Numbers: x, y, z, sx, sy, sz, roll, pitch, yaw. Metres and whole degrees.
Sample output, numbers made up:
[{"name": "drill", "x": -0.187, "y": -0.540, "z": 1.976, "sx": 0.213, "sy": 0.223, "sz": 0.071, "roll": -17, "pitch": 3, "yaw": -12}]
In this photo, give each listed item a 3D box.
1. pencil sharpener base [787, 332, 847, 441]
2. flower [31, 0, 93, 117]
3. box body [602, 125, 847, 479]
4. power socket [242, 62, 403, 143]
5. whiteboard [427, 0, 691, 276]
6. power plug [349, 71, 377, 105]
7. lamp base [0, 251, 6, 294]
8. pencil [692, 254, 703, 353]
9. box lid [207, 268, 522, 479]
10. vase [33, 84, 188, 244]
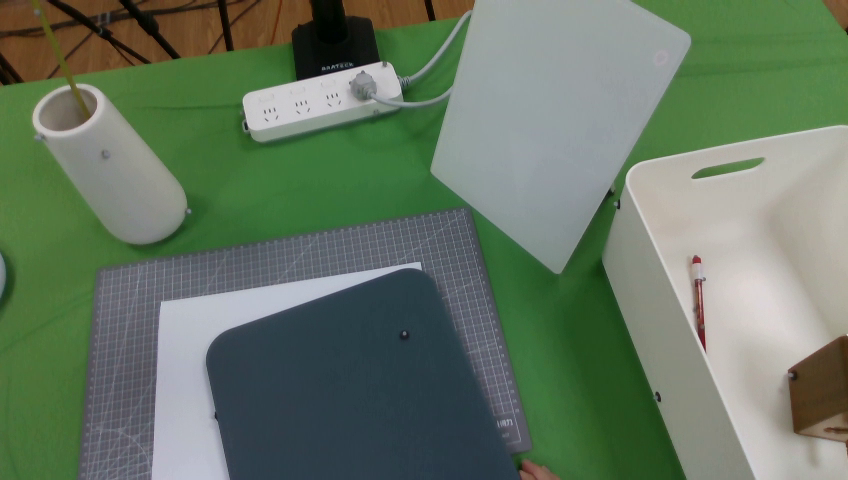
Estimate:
[{"name": "pencil sharpener base", "x": 0.398, "y": 0.143, "z": 0.568, "sx": 0.061, "sy": 0.108, "sz": 0.076, "roll": 9, "pitch": 61, "yaw": 6}, {"name": "flower", "x": -0.340, "y": -0.135, "z": 0.607, "sx": 0.038, "sy": 0.365, "sz": 0.043, "roll": -21, "pitch": 44, "yaw": -17}, {"name": "box body", "x": 0.347, "y": 0.094, "z": 0.572, "sx": 0.254, "sy": 0.162, "sz": 0.360, "roll": -11, "pitch": 61, "yaw": -5}, {"name": "power socket", "x": -0.137, "y": -0.188, "z": 0.822, "sx": 0.227, "sy": 0.033, "sz": 0.071, "roll": -15, "pitch": 62, "yaw": -7}, {"name": "whiteboard", "x": 0.156, "y": -0.152, "z": 0.671, "sx": 0.144, "sy": 0.307, "sz": 0.215, "roll": -31, "pitch": 62, "yaw": -36}, {"name": "power plug", "x": -0.080, "y": -0.189, "z": 0.794, "sx": 0.035, "sy": 0.053, "sz": 0.072, "roll": -6, "pitch": 62, "yaw": -2}, {"name": "lamp base", "x": -0.581, "y": 0.016, "z": 0.634, "sx": 0.178, "sy": 0.182, "sz": 0.160, "roll": 19, "pitch": 62, "yaw": 15}, {"name": "pencil", "x": 0.296, "y": 0.102, "z": 0.651, "sx": 0.012, "sy": 0.012, "sz": 0.192, "roll": 8, "pitch": 64, "yaw": 7}, {"name": "box lid", "x": -0.055, "y": 0.210, "z": 0.600, "sx": 0.263, "sy": 0.015, "sz": 0.367, "roll": -19, "pitch": 61, "yaw": -10}, {"name": "vase", "x": -0.340, "y": -0.078, "z": 0.669, "sx": 0.098, "sy": 0.201, "sz": 0.097, "roll": -1, "pitch": 60, "yaw": 3}]
